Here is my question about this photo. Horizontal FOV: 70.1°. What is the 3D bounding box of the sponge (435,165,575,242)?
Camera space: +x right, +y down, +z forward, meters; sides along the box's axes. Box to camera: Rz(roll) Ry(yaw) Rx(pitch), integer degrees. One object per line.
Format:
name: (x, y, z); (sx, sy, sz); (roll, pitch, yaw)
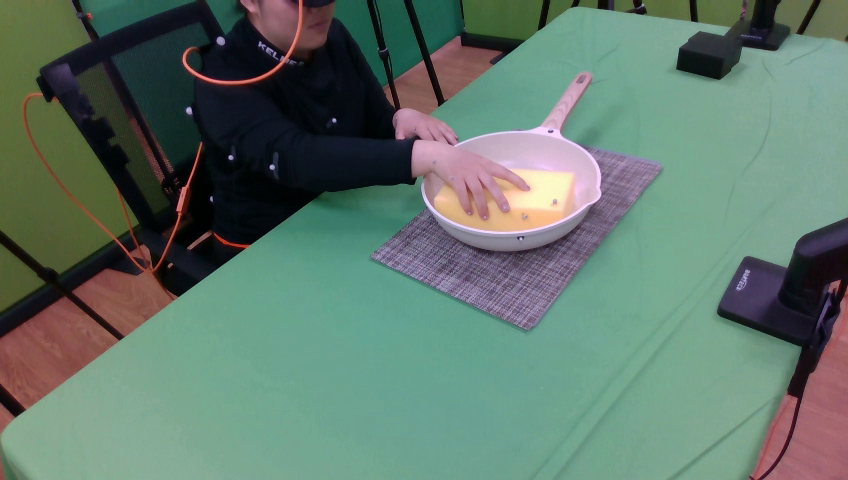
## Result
sponge: (0.135, -0.063, 0.988); (0.206, 0.061, 0.118); (6, 38, 18)

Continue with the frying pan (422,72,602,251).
frying pan: (0.199, -0.155, 1.062); (0.304, 0.103, 0.488); (19, 56, 28)
